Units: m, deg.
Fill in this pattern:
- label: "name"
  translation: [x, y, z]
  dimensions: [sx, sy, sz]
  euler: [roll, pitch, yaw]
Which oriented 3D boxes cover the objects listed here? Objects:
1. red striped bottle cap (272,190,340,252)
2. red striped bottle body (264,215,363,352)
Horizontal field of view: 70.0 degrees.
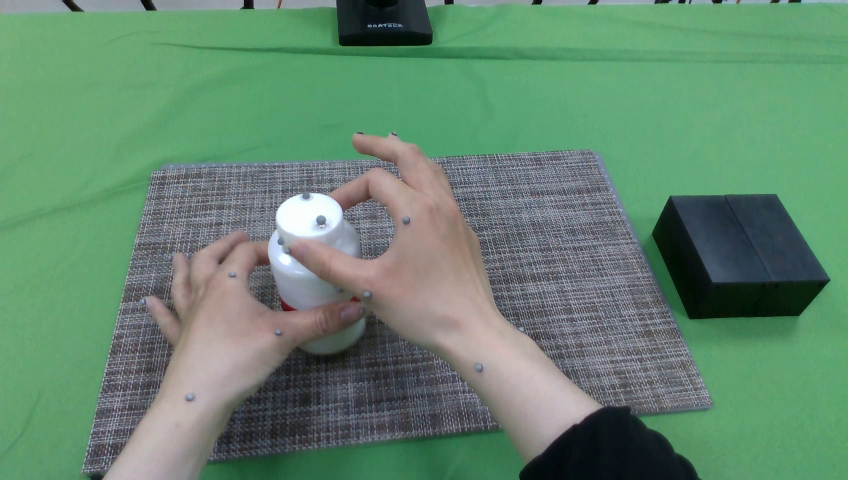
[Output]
- label: "red striped bottle cap"
  translation: [-0.078, -0.013, 0.400]
  dimensions: [0.044, 0.018, 0.044]
  euler: [6, 45, -6]
- label: "red striped bottle body"
  translation: [-0.079, 0.024, 0.442]
  dimensions: [0.063, 0.121, 0.062]
  euler: [0, 46, 0]
